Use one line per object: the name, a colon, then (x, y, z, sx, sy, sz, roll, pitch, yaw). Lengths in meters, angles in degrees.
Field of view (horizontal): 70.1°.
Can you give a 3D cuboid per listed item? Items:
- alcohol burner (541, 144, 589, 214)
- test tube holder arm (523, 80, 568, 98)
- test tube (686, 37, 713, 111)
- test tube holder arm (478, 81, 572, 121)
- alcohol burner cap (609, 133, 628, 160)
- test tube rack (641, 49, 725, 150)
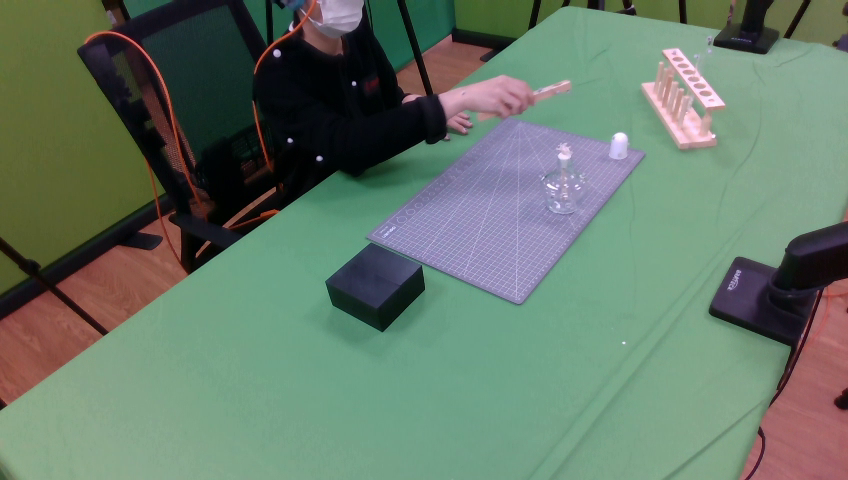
alcohol burner: (0.229, -0.102, 0.983, 0.078, 0.119, 0.077, -6, 41, 5)
test tube holder arm: (0.222, -0.267, 1.091, 0.088, 0.015, 0.010, -21, 25, -6)
test tube: (0.509, -0.306, 1.129, 0.017, 0.151, 0.017, -1, 45, 2)
test tube holder arm: (0.181, -0.249, 1.081, 0.179, 0.015, 0.013, -21, 25, -6)
alcohol burner cap: (0.356, -0.172, 1.100, 0.034, 0.048, 0.033, -5, 41, 5)
test tube rack: (0.495, -0.279, 1.175, 0.067, 0.085, 0.241, -5, 41, 3)
